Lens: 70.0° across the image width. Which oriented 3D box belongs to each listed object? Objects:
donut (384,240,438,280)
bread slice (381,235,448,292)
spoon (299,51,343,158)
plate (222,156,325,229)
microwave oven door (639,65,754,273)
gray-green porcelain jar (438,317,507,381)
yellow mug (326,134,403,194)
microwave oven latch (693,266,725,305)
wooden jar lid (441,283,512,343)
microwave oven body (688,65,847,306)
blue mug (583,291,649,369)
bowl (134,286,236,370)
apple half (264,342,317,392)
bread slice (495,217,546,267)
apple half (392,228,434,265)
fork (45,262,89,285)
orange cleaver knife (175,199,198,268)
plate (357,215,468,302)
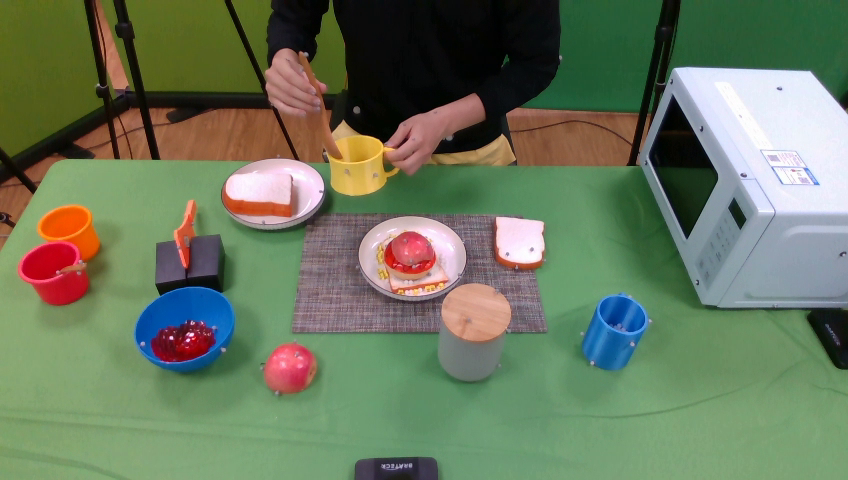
[{"bbox_3d":[-0.025,0.029,1.110,0.099,0.048,0.098,2,46,-2],"label":"donut"},{"bbox_3d":[-0.027,0.039,1.140,0.107,0.018,0.133,-12,49,-15],"label":"bread slice"},{"bbox_3d":[-0.165,-0.210,0.964,0.021,0.195,0.041,-36,45,-28],"label":"spoon"},{"bbox_3d":[-0.308,-0.095,1.251,0.209,0.038,0.208,2,46,-2],"label":"plate"},{"bbox_3d":[0.522,-0.147,1.193,0.039,0.245,0.353,0,47,-3],"label":"microwave oven door"},{"bbox_3d":[0.076,0.158,0.977,0.106,0.127,0.105,2,47,-2],"label":"gray-green porcelain jar"},{"bbox_3d":[-0.102,-0.135,1.057,0.131,0.064,0.099,-6,38,-7],"label":"yellow mug"},{"bbox_3d":[0.523,0.082,1.115,0.030,0.029,0.078,3,46,0],"label":"microwave oven latch"},{"bbox_3d":[0.080,0.114,0.931,0.108,0.021,0.107,1,49,0],"label":"wooden jar lid"},{"bbox_3d":[0.669,-0.111,1.176,0.326,0.261,0.439,0,46,-3],"label":"microwave oven body"},{"bbox_3d":[0.324,0.142,1.023,0.082,0.106,0.116,15,47,11],"label":"blue mug"},{"bbox_3d":[-0.377,0.156,0.981,0.151,0.077,0.150,2,46,-2],"label":"bowl"},{"bbox_3d":[-0.214,0.198,0.970,0.074,0.053,0.080,19,48,10],"label":"apple half"},{"bbox_3d":[0.194,0.002,1.205,0.105,0.019,0.131,5,45,3],"label":"bread slice"},{"bbox_3d":[-0.020,0.004,1.083,0.081,0.033,0.081,6,51,-8],"label":"apple half"},{"bbox_3d":[-0.598,0.054,1.014,0.207,0.019,0.028,-15,28,46],"label":"fork"},{"bbox_3d":[-0.438,-0.017,1.138,0.012,0.077,0.210,-14,27,-6],"label":"orange cleaver knife"},{"bbox_3d":[-0.022,0.037,1.141,0.208,0.039,0.206,2,46,-2],"label":"plate"}]
